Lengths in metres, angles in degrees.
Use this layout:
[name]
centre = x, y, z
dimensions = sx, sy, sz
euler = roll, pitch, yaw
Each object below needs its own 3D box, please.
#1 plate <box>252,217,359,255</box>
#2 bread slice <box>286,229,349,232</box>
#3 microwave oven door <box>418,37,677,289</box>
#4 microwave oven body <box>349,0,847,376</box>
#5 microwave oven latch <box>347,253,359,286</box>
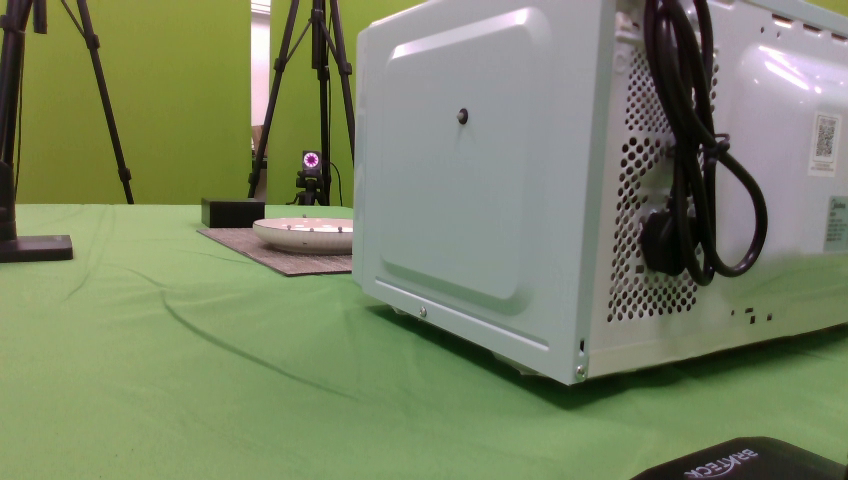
[plate]
centre = -0.155, -0.007, 0.924
dimensions = 0.209, 0.038, 0.209
euler = 3, 7, 0
[bread slice]
centre = -0.153, -0.004, 0.921
dimensions = 0.132, 0.019, 0.104
euler = 0, 7, -30
[microwave oven door]
centre = 0.158, -0.078, 0.684
dimensions = 0.358, 0.243, 0.039
euler = -2, 9, -32
[microwave oven body]
centre = 0.199, -0.053, 0.540
dimensions = 0.444, 0.260, 0.324
euler = -1, 7, -32
[microwave oven latch]
centre = -0.034, 0.028, 0.581
dimensions = 0.079, 0.029, 0.030
euler = -1, 7, -32
